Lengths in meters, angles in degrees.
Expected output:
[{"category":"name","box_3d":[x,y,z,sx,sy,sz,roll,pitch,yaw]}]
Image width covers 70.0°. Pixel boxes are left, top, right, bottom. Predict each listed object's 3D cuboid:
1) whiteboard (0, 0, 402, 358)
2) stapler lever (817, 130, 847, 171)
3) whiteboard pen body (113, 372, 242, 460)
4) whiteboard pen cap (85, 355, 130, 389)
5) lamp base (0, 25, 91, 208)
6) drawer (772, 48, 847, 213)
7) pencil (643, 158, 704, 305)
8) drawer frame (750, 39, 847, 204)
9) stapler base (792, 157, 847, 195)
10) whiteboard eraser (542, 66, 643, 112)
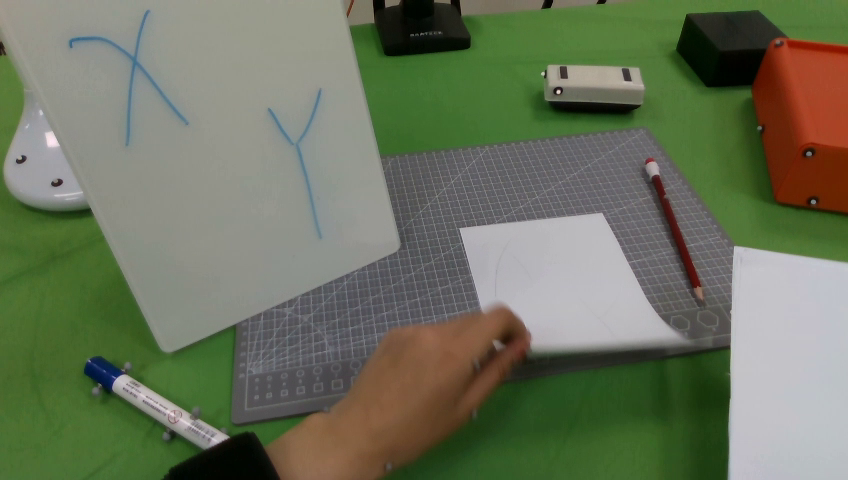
[{"category":"whiteboard","box_3d":[-0.171,-0.102,0.498,0.217,0.308,0.142,-24,30,-21]},{"category":"stapler lever","box_3d":[0.443,-0.080,0.583,0.118,0.040,0.026,9,60,7]},{"category":"whiteboard pen body","box_3d":[-0.188,0.121,0.437,0.140,0.017,0.017,21,49,21]},{"category":"whiteboard pen cap","box_3d":[-0.238,0.100,0.458,0.033,0.018,0.018,21,49,23]},{"category":"lamp base","box_3d":[-0.364,-0.148,0.590,0.178,0.182,0.160,22,49,24]},{"category":"drawer","box_3d":[0.465,-0.113,0.629,0.194,0.074,0.210,10,45,11]},{"category":"pencil","box_3d":[0.236,-0.015,0.575,0.012,0.012,0.192,0,47,0]},{"category":"drawer frame","box_3d":[0.466,-0.117,0.630,0.201,0.083,0.212,9,45,10]},{"category":"stapler base","box_3d":[0.442,-0.065,0.605,0.130,0.024,0.041,9,60,8]},{"category":"whiteboard eraser","box_3d":[0.199,-0.180,0.723,0.112,0.042,0.055,4,47,4]}]
